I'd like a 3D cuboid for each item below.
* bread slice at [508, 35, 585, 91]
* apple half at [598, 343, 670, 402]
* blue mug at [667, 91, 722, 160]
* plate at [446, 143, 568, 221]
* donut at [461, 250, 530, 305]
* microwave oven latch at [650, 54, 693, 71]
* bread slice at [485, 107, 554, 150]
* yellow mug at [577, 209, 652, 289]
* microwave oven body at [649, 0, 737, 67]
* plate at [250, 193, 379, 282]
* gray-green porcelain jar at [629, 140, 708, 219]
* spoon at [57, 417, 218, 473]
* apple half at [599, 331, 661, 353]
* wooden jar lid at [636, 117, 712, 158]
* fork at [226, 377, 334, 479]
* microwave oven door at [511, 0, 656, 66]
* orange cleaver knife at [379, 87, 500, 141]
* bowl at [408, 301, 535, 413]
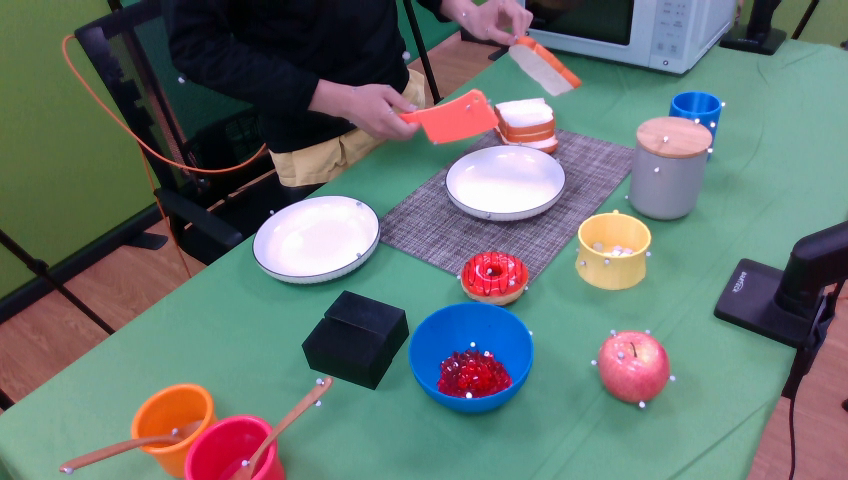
[{"bbox_3d":[0.211,-0.313,1.071,0.018,0.135,0.106,-57,15,-2],"label":"bread slice"},{"bbox_3d":[0.247,0.161,0.710,0.081,0.075,0.053,2,47,5],"label":"apple half"},{"bbox_3d":[0.474,-0.207,1.079,0.082,0.106,0.116,4,42,13],"label":"blue mug"},{"bbox_3d":[0.142,-0.097,1.045,0.207,0.039,0.206,-4,40,4],"label":"plate"},{"bbox_3d":[0.103,0.053,0.872,0.099,0.048,0.098,-4,40,4],"label":"donut"},{"bbox_3d":[0.531,-0.386,1.301,0.078,0.029,0.030,25,51,33],"label":"microwave oven latch"},{"bbox_3d":[0.186,-0.203,1.161,0.105,0.019,0.130,-22,44,-6],"label":"bread slice"},{"bbox_3d":[0.279,0.004,0.893,0.099,0.064,0.130,5,41,15],"label":"yellow mug"},{"bbox_3d":[0.475,-0.602,1.411,0.438,0.261,0.327,23,50,32],"label":"microwave oven body"},{"bbox_3d":[-0.174,-0.001,0.984,0.209,0.038,0.208,-4,40,3],"label":"plate"},{"bbox_3d":[0.383,-0.105,0.958,0.106,0.127,0.105,-4,41,4],"label":"gray-green porcelain jar"},{"bbox_3d":[-0.304,0.221,0.661,0.041,0.195,0.021,19,92,27],"label":"spoon"},{"bbox_3d":[0.249,0.134,0.738,0.081,0.081,0.032,-1,46,7],"label":"apple half"},{"bbox_3d":[0.377,-0.151,0.917,0.108,0.021,0.108,-2,42,3],"label":"wooden jar lid"},{"bbox_3d":[-0.163,0.216,0.647,0.207,0.019,0.028,-49,42,16],"label":"fork"},{"bbox_3d":[0.351,-0.540,1.349,0.353,0.245,0.039,24,50,31],"label":"microwave oven door"},{"bbox_3d":[0.022,-0.199,0.995,0.210,0.077,0.012,-5,35,30],"label":"orange cleaver knife"},{"bbox_3d":[0.060,0.156,0.739,0.151,0.077,0.150,-4,40,4],"label":"bowl"}]
